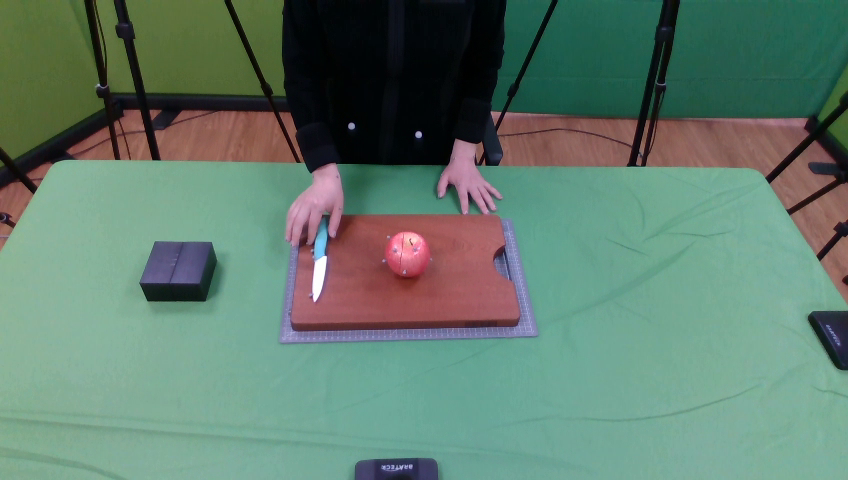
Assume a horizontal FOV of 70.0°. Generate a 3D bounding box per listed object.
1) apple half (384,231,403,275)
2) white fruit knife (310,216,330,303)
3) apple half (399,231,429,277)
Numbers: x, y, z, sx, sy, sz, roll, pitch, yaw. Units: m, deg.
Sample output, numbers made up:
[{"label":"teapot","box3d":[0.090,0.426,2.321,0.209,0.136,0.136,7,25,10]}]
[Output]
[{"label":"apple half","box3d":[-0.056,0.025,1.093,0.033,0.081,0.081,5,46,-3]},{"label":"white fruit knife","box3d":[-0.194,0.032,1.116,0.027,0.016,0.206,-7,47,5]},{"label":"apple half","box3d":[-0.018,0.028,1.095,0.053,0.075,0.080,6,42,-4]}]
